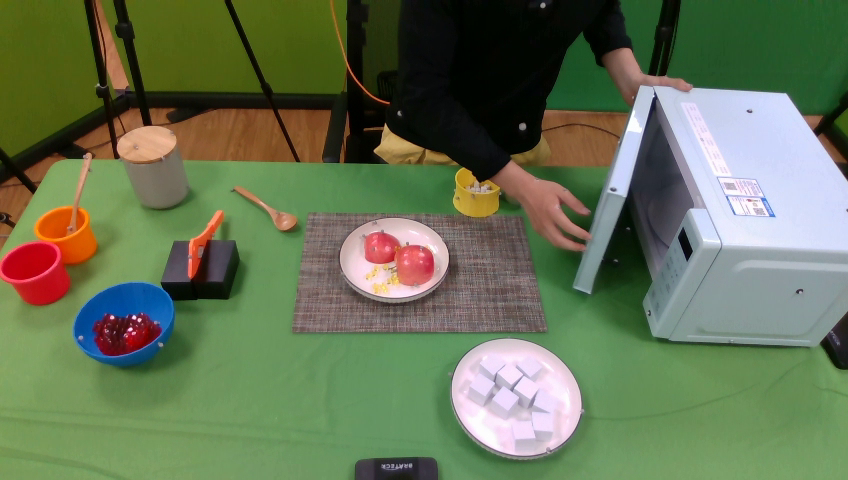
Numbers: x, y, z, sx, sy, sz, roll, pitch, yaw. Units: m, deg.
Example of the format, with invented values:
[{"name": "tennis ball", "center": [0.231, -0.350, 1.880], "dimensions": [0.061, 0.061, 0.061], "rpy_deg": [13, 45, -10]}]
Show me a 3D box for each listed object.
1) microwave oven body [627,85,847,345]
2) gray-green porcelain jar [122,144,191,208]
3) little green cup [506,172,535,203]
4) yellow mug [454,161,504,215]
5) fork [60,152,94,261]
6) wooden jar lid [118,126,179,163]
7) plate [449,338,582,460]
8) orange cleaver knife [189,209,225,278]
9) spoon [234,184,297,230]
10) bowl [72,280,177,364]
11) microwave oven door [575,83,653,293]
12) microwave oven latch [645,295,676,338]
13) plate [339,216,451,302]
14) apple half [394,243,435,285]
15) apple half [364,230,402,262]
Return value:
[{"name": "microwave oven body", "center": [0.570, -0.054, 1.116], "dimensions": [0.326, 0.261, 0.439], "rpy_deg": [2, 46, 0]}, {"name": "gray-green porcelain jar", "center": [-0.531, -0.137, 1.214], "dimensions": [0.106, 0.127, 0.105], "rpy_deg": [2, 47, -2]}, {"name": "little green cup", "center": [0.205, -0.111, 1.302], "dimensions": [0.061, 0.039, 0.061], "rpy_deg": [1, 47, -1]}, {"name": "yellow mug", "center": [0.117, -0.119, 1.283], "dimensions": [0.100, 0.064, 0.130], "rpy_deg": [8, 43, 6]}, {"name": "fork", "center": [-0.638, -0.063, 1.120], "dimensions": [0.028, 0.018, 0.207], "rpy_deg": [12, 90, 6]}, {"name": "wooden jar lid", "center": [-0.528, -0.181, 1.167], "dimensions": [0.108, 0.021, 0.107], "rpy_deg": [3, 48, -4]}, {"name": "plate", "center": [0.141, 0.251, 0.956], "dimensions": [0.208, 0.039, 0.206], "rpy_deg": [2, 47, -2]}, {"name": "orange cleaver knife", "center": [-0.401, 0.002, 1.122], "dimensions": [0.012, 0.077, 0.210], "rpy_deg": [4, 23, -4]}, {"name": "spoon", "center": [-0.327, -0.073, 1.240], "dimensions": [0.193, 0.022, 0.041], "rpy_deg": [34, 71, 25]}, {"name": "bowl", "center": [-0.473, 0.146, 0.982], "dimensions": [0.151, 0.077, 0.150], "rpy_deg": [2, 46, -2]}, {"name": "microwave oven door", "center": [0.365, -0.106, 1.145], "dimensions": [0.039, 0.245, 0.354], "rpy_deg": [18, 48, 13]}, {"name": "microwave oven latch", "center": [0.413, 0.134, 1.062], "dimensions": [0.030, 0.029, 0.078], "rpy_deg": [2, 46, 0]}, {"name": "plate", "center": [-0.054, 0.038, 1.138], "dimensions": [0.209, 0.038, 0.208], "rpy_deg": [2, 46, -2]}, {"name": "apple half", "center": [-0.016, 0.036, 1.120], "dimensions": [0.075, 0.053, 0.080], "rpy_deg": [1, 46, -6]}, {"name": "apple half", "center": [-0.079, 0.004, 1.159], "dimensions": [0.081, 0.033, 0.081], "rpy_deg": [3, 49, -3]}]
